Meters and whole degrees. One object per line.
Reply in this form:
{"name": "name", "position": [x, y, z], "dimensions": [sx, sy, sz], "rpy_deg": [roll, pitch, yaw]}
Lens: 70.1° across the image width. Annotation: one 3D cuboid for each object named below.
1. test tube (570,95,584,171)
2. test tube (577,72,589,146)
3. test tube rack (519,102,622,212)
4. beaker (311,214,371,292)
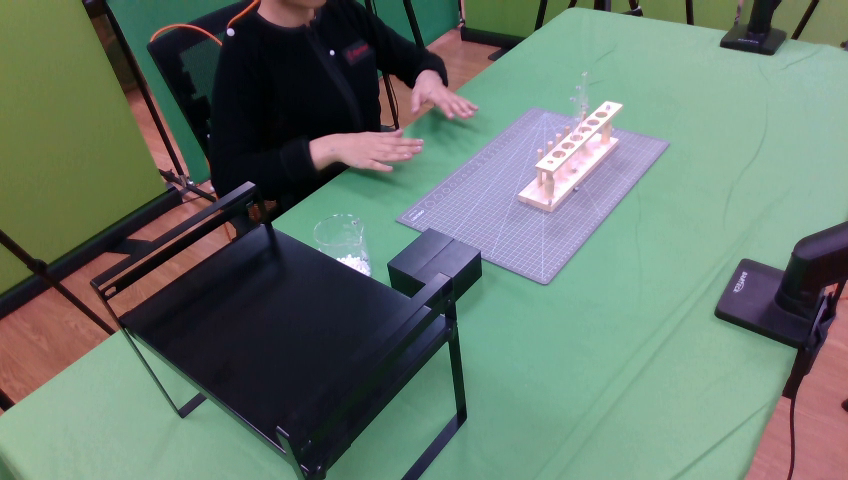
{"name": "test tube", "position": [0.256, -0.175, 1.013], "dimensions": [0.017, 0.151, 0.017], "rpy_deg": [-5, 47, 6]}
{"name": "test tube", "position": [0.284, -0.233, 1.084], "dimensions": [0.017, 0.151, 0.017], "rpy_deg": [-5, 44, 6]}
{"name": "test tube rack", "position": [0.260, -0.155, 1.065], "dimensions": [0.066, 0.085, 0.243], "rpy_deg": [24, 50, 32]}
{"name": "beaker", "position": [-0.118, 0.022, 0.908], "dimensions": [0.083, 0.101, 0.074], "rpy_deg": [26, 51, 32]}
